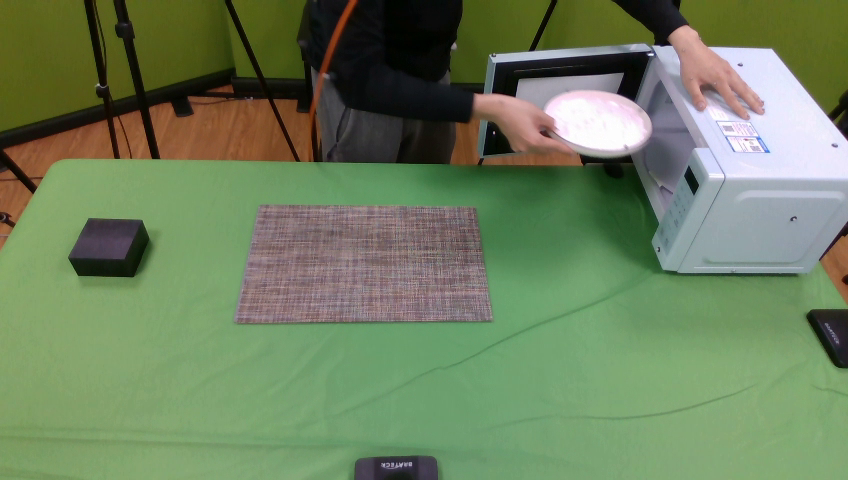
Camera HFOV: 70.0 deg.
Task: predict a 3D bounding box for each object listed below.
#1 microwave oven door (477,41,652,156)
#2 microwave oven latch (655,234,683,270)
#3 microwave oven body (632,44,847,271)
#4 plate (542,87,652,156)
[{"bbox_3d":[0.303,-0.309,1.336,0.356,0.245,0.039,-8,48,-10],"label":"microwave oven door"},{"bbox_3d":[0.473,0.021,1.176,0.030,0.029,0.078,2,46,-1],"label":"microwave oven latch"},{"bbox_3d":[0.619,-0.172,1.234,0.326,0.261,0.439,0,46,-3],"label":"microwave oven body"},{"bbox_3d":[0.330,-0.224,1.168,0.209,0.038,0.208,1,46,-1],"label":"plate"}]
